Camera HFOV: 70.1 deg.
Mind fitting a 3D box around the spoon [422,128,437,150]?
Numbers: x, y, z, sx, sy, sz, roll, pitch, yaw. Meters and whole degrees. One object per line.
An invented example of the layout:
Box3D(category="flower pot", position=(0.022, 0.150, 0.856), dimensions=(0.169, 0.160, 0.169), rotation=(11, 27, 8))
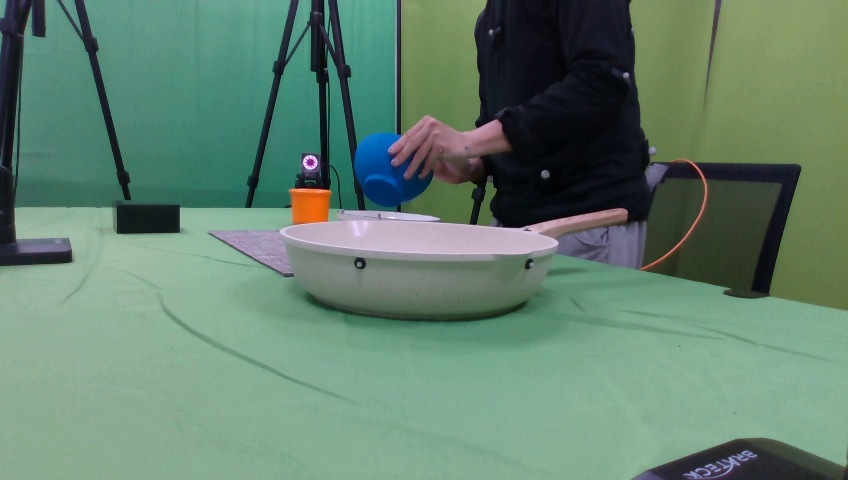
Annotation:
Box3D(category="spoon", position=(-0.010, -0.158, 1.156), dimensions=(0.041, 0.021, 0.194), rotation=(27, 45, -4))

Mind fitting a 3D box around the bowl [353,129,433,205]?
Box3D(category="bowl", position=(-0.064, -0.116, 1.087), dimensions=(0.151, 0.077, 0.151), rotation=(11, -36, 9))

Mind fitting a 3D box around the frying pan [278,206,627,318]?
Box3D(category="frying pan", position=(0.079, 0.002, 0.705), dimensions=(0.490, 0.102, 0.305), rotation=(-12, 15, -33))

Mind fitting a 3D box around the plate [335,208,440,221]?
Box3D(category="plate", position=(-0.073, -0.035, 1.196), dimensions=(0.208, 0.039, 0.207), rotation=(4, 6, 0))
